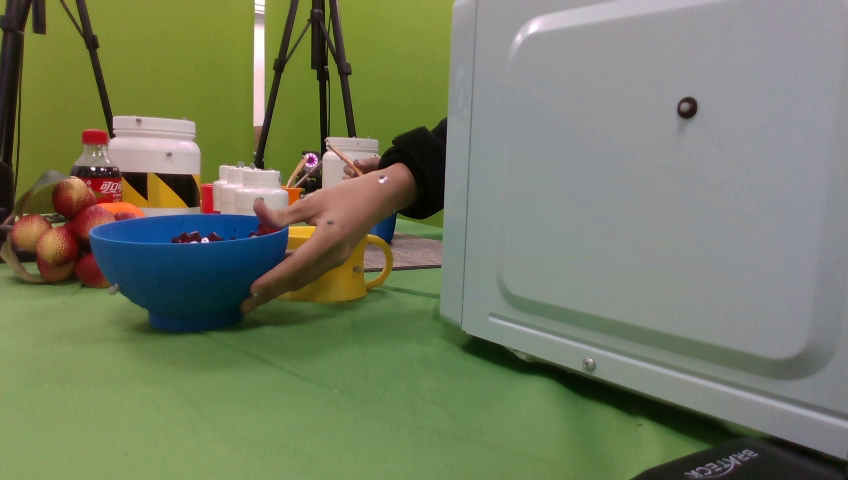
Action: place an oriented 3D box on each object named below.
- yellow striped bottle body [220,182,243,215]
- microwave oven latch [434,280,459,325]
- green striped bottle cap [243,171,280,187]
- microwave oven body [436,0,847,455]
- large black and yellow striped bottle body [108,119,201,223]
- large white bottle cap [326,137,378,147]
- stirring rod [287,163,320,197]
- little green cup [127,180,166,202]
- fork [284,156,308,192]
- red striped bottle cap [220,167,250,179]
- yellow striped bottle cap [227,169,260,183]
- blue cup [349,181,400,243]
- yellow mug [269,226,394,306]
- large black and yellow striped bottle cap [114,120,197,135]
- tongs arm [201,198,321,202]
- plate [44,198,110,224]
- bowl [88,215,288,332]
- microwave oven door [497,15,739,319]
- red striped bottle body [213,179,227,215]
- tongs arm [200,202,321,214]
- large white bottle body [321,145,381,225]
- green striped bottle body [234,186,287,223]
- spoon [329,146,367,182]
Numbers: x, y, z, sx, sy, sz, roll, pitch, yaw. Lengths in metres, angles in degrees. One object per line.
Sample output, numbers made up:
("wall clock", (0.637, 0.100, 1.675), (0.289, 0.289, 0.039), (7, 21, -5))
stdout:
("yellow striped bottle body", (-0.245, -0.036, 0.825), (0.063, 0.120, 0.063), (3, 8, 0))
("microwave oven latch", (0.044, 0.045, 0.470), (0.079, 0.029, 0.030), (-2, 8, -39))
("green striped bottle cap", (-0.198, -0.074, 0.736), (0.044, 0.020, 0.044), (1, 7, 0))
("microwave oven body", (0.279, -0.040, 0.465), (0.444, 0.260, 0.324), (-3, 9, -41))
("large black and yellow striped bottle body", (-0.412, -0.088, 0.930), (0.131, 0.184, 0.130), (3, 7, 0))
("large white bottle cap", (-0.158, -0.214, 1.329), (0.115, 0.018, 0.115), (2, 8, 0))
("stirring rod", (-0.283, -0.107, 1.298), (0.014, 0.006, 0.176), (10, 52, 51))
("little green cup", (-0.486, -0.086, 1.061), (0.061, 0.038, 0.061), (1, 7, 0))
("fork", (-0.295, -0.116, 1.323), (0.028, 0.019, 0.207), (0, 49, 21))
("red striped bottle cap", (-0.281, -0.100, 0.901), (0.044, 0.017, 0.044), (0, 5, 0))
("yellow striped bottle cap", (-0.243, -0.086, 0.818), (0.044, 0.018, 0.044), (3, 6, 0))
("blue cup", (-0.082, -0.047, 1.012), (0.093, 0.100, 0.092), (1, 6, 0))
("yellow mug", (-0.094, 0.024, 0.631), (0.131, 0.064, 0.099), (0, 10, -22))
("large black and yellow striped bottle cap", (-0.407, -0.171, 0.920), (0.115, 0.019, 0.115), (2, 9, 0))
("tongs arm", (-0.433, -0.090, 1.508), (0.390, 0.028, 0.028), (0, 2, -29))
("plate", (-0.617, -0.056, 1.179), (0.209, 0.038, 0.209), (3, 7, 0))
("bowl", (-0.188, 0.027, 0.499), (0.151, 0.077, 0.151), (1, 10, 0))
("microwave oven door", (0.216, -0.065, 0.603), (0.358, 0.243, 0.039), (-4, 11, -41))
("red striped bottle body", (-0.284, -0.048, 0.909), (0.063, 0.119, 0.063), (3, 12, 0))
("tongs arm", (-0.378, -0.079, 1.440), (0.387, 0.026, 0.050), (-3, 7, -44))
("large white bottle body", (-0.162, -0.131, 1.341), (0.131, 0.184, 0.130), (2, 8, 0))
("green striped bottle body", (-0.201, -0.023, 0.743), (0.063, 0.119, 0.063), (2, 7, 0))
("spoon", (-0.115, -0.113, 1.046), (0.042, 0.021, 0.193), (6, 36, -45))
